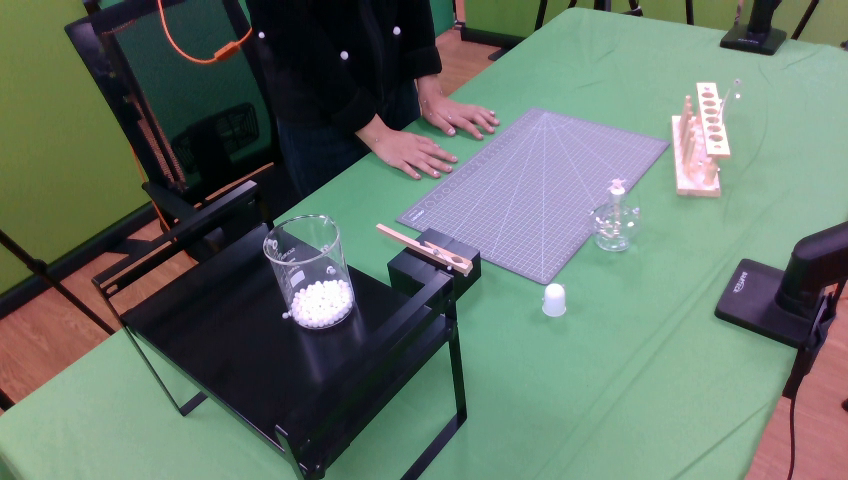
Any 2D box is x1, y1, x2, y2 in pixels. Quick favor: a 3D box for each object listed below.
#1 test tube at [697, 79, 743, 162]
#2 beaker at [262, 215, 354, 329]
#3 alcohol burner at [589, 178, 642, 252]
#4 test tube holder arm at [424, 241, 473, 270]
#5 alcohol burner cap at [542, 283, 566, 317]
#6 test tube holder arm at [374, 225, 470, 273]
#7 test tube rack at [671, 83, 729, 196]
[{"bbox_3d":[0.486,-0.194,0.998,0.017,0.150,0.017,5,40,-4],"label":"test tube"},{"bbox_3d":[-0.112,0.034,0.616,0.073,0.101,0.084,13,44,23],"label":"beaker"},{"bbox_3d":[0.290,-0.042,0.910,0.078,0.119,0.077,-6,40,5],"label":"alcohol burner"},{"bbox_3d":[0.033,0.022,0.872,0.087,0.015,0.010,22,50,32],"label":"test tube holder arm"},{"bbox_3d":[0.181,0.081,0.839,0.034,0.048,0.033,-4,40,4],"label":"alcohol burner cap"},{"bbox_3d":[-0.006,0.012,0.893,0.177,0.015,0.013,21,49,32],"label":"test tube holder arm"},{"bbox_3d":[0.482,-0.184,1.067,0.066,0.085,0.242,5,42,15],"label":"test tube rack"}]
